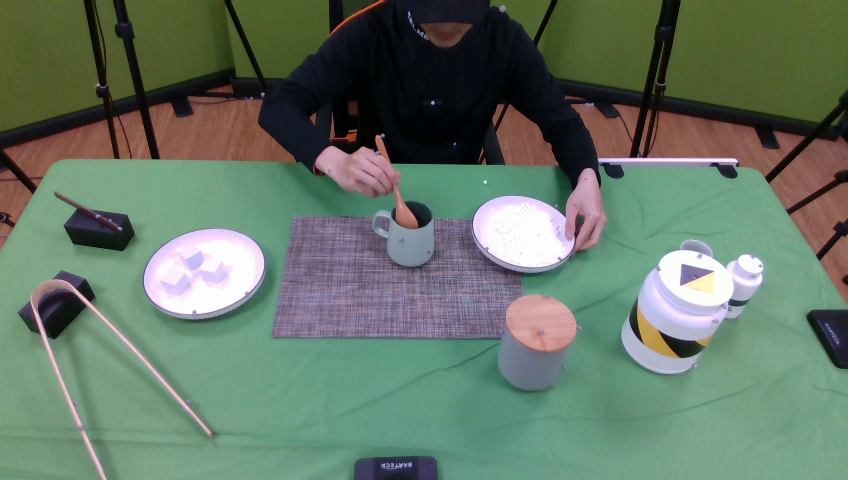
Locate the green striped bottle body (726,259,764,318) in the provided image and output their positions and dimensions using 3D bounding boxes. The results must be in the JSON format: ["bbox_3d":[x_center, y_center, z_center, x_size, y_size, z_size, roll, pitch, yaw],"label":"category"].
[{"bbox_3d":[0.563,0.081,1.089,0.063,0.120,0.063,2,46,-2],"label":"green striped bottle body"}]

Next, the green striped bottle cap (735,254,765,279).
[{"bbox_3d":[0.566,0.046,1.051,0.044,0.020,0.044,0,45,0],"label":"green striped bottle cap"}]

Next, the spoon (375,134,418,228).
[{"bbox_3d":[-0.054,-0.097,1.088,0.041,0.194,0.021,-15,9,21],"label":"spoon"}]

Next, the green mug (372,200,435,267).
[{"bbox_3d":[-0.040,-0.015,1.146,0.125,0.105,0.092,17,48,14],"label":"green mug"}]

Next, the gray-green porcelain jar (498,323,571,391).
[{"bbox_3d":[0.176,0.172,0.971,0.106,0.127,0.105,2,46,-2],"label":"gray-green porcelain jar"}]

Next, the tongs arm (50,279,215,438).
[{"bbox_3d":[-0.459,0.178,0.949,0.386,0.028,0.028,37,60,17],"label":"tongs arm"}]

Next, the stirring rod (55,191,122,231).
[{"bbox_3d":[-0.632,-0.055,1.138,0.175,0.014,0.006,24,50,19],"label":"stirring rod"}]

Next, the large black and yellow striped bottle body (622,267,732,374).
[{"bbox_3d":[0.415,0.119,0.997,0.131,0.185,0.130,2,46,-2],"label":"large black and yellow striped bottle body"}]

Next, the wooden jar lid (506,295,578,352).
[{"bbox_3d":[0.179,0.130,0.925,0.108,0.021,0.107,2,43,-2],"label":"wooden jar lid"}]

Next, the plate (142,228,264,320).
[{"bbox_3d":[-0.394,0.064,1.095,0.208,0.039,0.206,2,46,-2],"label":"plate"}]

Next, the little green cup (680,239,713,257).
[{"bbox_3d":[0.530,0.033,1.189,0.061,0.039,0.061,2,48,-2],"label":"little green cup"}]

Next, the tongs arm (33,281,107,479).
[{"bbox_3d":[-0.517,0.214,0.910,0.051,0.026,0.383,-28,63,-27],"label":"tongs arm"}]

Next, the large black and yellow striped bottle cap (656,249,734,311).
[{"bbox_3d":[0.419,0.061,0.938,0.115,0.019,0.114,2,47,-2],"label":"large black and yellow striped bottle cap"}]

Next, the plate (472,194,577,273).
[{"bbox_3d":[0.196,-0.010,1.205,0.209,0.038,0.208,4,46,-4],"label":"plate"}]
